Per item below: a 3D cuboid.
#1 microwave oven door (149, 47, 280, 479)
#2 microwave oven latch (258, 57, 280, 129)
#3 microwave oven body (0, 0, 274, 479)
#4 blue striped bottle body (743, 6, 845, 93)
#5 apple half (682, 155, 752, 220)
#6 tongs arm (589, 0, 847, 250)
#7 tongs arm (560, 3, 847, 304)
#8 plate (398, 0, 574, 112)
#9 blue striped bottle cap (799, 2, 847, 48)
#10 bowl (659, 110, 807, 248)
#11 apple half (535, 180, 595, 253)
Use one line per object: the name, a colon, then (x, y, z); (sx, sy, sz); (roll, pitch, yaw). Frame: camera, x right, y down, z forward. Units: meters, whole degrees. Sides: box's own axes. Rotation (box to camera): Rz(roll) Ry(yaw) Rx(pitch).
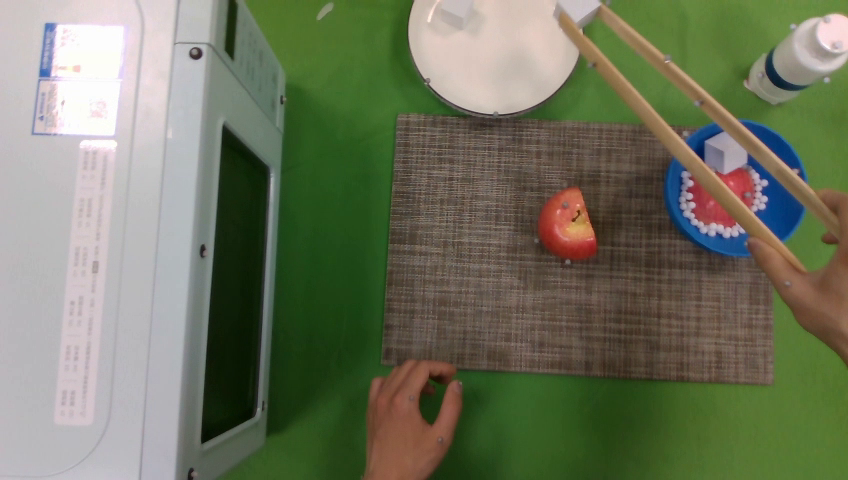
microwave oven door: (-0.189, 0.035, 0.578); (0.039, 0.244, 0.354); (0, 84, 1)
microwave oven latch: (-0.183, -0.170, 0.702); (0.030, 0.029, 0.079); (1, 84, 0)
microwave oven body: (-0.335, -0.008, 0.588); (0.326, 0.260, 0.440); (1, 84, 0)
blue striped bottle body: (0.417, -0.215, 0.677); (0.063, 0.121, 0.063); (0, 83, 1)
apple half: (0.332, -0.061, 0.676); (0.081, 0.033, 0.081); (0, 83, 4)
tongs arm: (0.261, -0.107, 0.561); (0.051, 0.027, 0.381); (-34, 66, -6)
tongs arm: (0.240, -0.095, 0.559); (0.028, 0.028, 0.384); (-29, 65, -8)
plate: (0.073, -0.251, 0.727); (0.208, 0.039, 0.207); (0, 84, 0)
blue striped bottle cap: (0.416, -0.222, 0.627); (0.044, 0.020, 0.044); (0, 86, 1)
bowl: (0.330, -0.061, 0.679); (0.151, 0.077, 0.151); (0, 84, 1)
apple half: (0.152, -0.021, 0.679); (0.053, 0.075, 0.080); (-18, 87, 3)
